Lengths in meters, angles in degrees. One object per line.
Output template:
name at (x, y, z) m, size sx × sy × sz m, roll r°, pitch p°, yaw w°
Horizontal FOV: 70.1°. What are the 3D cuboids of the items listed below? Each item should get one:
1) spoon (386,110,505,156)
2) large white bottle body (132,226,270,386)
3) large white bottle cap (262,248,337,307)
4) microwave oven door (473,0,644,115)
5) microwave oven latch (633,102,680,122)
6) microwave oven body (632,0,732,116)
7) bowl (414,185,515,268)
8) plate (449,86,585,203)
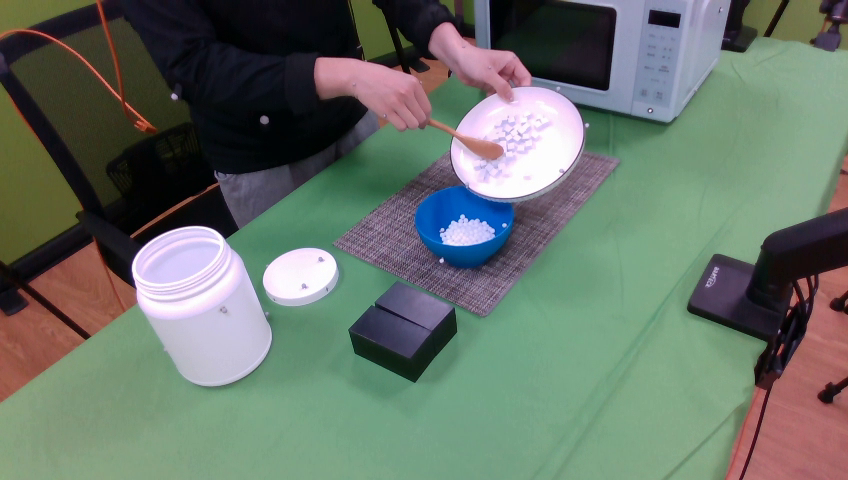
spoon at (0.032, -0.167, 0.935) m, size 0.193 × 0.021 × 0.041 m, roll 24°, pitch 23°, yaw 4°
large white bottle body at (-0.286, 0.085, 0.783) m, size 0.130 × 0.185 × 0.130 m, roll -4°, pitch 41°, yaw 4°
large white bottle cap at (-0.193, 0.056, 0.934) m, size 0.115 × 0.018 × 0.114 m, roll -4°, pitch 41°, yaw 4°
microwave oven door at (0.257, -0.396, 1.199) m, size 0.353 × 0.245 × 0.039 m, roll 21°, pitch 48°, yaw 29°
microwave oven latch at (0.443, -0.249, 1.157) m, size 0.078 × 0.029 × 0.030 m, roll 21°, pitch 49°, yaw 30°
microwave oven body at (0.377, -0.463, 1.267) m, size 0.438 × 0.261 × 0.327 m, roll 21°, pitch 48°, yaw 30°
bowl at (0.063, -0.010, 0.922) m, size 0.151 × 0.077 × 0.150 m, roll -4°, pitch 40°, yaw 4°
plate at (0.142, -0.144, 0.931) m, size 0.208 × 0.038 × 0.208 m, roll -8°, pitch 62°, yaw 16°
